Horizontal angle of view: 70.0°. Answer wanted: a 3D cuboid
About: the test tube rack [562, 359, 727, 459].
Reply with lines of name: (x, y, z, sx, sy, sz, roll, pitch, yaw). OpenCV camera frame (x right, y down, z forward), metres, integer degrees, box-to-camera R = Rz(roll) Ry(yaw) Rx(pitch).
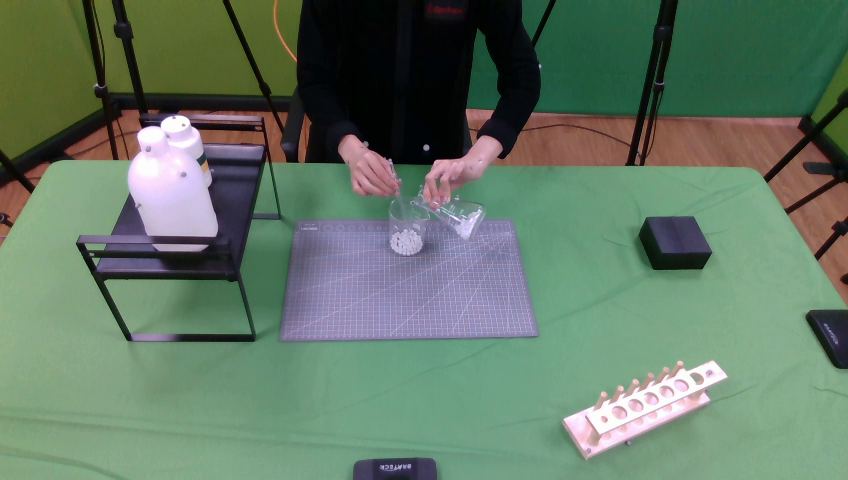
test tube rack: (0.341, 0.247, 0.940, 0.243, 0.085, 0.066, -16, 49, -18)

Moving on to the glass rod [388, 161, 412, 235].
glass rod: (-0.043, -0.074, 1.128, 0.008, 0.201, 0.008, -6, 50, 7)

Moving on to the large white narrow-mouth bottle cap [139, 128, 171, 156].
large white narrow-mouth bottle cap: (-0.358, -0.131, 0.808, 0.038, 0.024, 0.037, 3, 47, -3)

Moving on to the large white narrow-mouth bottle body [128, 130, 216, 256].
large white narrow-mouth bottle body: (-0.366, -0.073, 0.872, 0.102, 0.195, 0.101, 3, 47, -3)

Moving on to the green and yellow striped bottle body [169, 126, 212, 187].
green and yellow striped bottle body: (-0.389, -0.139, 0.984, 0.063, 0.120, 0.063, 2, 46, -2)

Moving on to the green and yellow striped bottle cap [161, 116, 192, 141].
green and yellow striped bottle cap: (-0.387, -0.174, 0.946, 0.045, 0.020, 0.045, 4, 44, -3)

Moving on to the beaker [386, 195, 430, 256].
beaker: (-0.031, -0.024, 1.161, 0.084, 0.101, 0.073, 18, 48, 12)

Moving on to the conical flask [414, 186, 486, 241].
conical flask: (0.043, -0.055, 1.085, 0.121, 0.075, 0.075, 27, 50, 10)
